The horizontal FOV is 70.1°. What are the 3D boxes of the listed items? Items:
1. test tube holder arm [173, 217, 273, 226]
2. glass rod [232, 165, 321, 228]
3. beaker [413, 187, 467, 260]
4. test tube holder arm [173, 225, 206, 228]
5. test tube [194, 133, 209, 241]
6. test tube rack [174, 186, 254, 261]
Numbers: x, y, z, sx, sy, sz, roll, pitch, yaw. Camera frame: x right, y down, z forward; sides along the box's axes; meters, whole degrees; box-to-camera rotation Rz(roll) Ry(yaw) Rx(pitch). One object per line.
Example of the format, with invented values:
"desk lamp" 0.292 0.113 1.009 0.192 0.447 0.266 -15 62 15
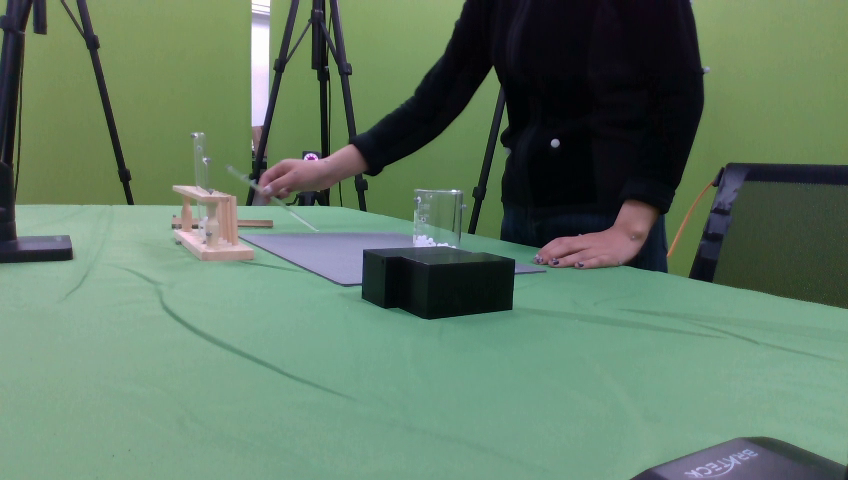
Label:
"test tube holder arm" -0.371 -0.033 1.128 0.179 0.015 0.013 -1 -23 -26
"glass rod" -0.265 -0.077 1.106 0.200 0.008 0.008 38 -13 -30
"beaker" 0.019 -0.025 0.878 0.074 0.100 0.083 -1 7 -27
"test tube holder arm" -0.415 -0.030 1.113 0.088 0.015 0.010 -1 -22 -25
"test tube" -0.307 -0.074 0.842 0.017 0.150 0.017 -3 2 0
"test tube rack" -0.314 -0.031 0.889 0.067 0.085 0.241 -2 8 -30
